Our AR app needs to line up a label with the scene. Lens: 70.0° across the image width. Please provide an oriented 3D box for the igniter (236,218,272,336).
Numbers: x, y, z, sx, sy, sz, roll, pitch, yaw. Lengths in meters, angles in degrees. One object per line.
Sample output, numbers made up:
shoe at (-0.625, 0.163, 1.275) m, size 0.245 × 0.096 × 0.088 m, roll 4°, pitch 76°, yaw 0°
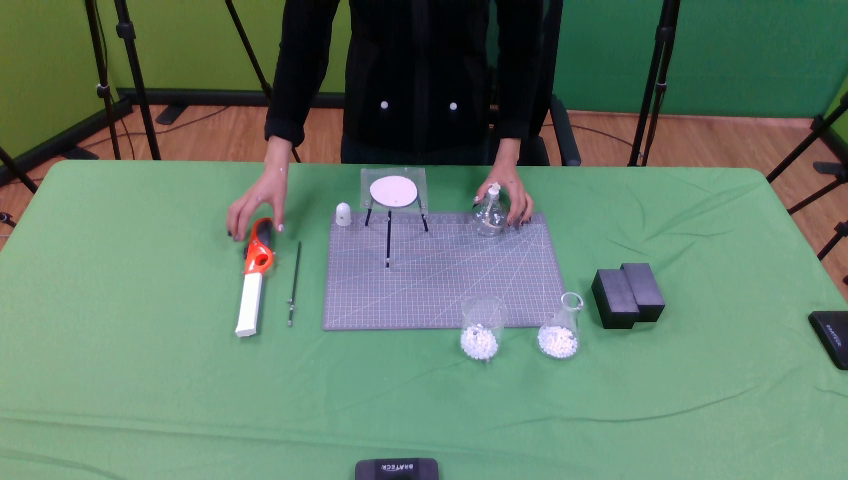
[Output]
igniter at (-0.312, 0.058, 1.115) m, size 0.057 × 0.025 × 0.274 m, roll -9°, pitch 46°, yaw 2°

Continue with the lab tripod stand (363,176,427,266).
lab tripod stand at (-0.057, -0.047, 1.159) m, size 0.148 × 0.132 × 0.147 m, roll 3°, pitch 44°, yaw -2°

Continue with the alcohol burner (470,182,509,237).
alcohol burner at (0.132, -0.065, 1.206) m, size 0.078 × 0.120 × 0.077 m, roll 2°, pitch 44°, yaw -1°

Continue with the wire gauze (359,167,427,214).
wire gauze at (-0.058, -0.093, 1.110) m, size 0.125 × 0.011 × 0.120 m, roll 2°, pitch 45°, yaw -5°

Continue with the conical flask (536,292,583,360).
conical flask at (0.234, 0.139, 1.015) m, size 0.075 × 0.122 × 0.075 m, roll 2°, pitch 46°, yaw -2°

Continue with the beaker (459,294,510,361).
beaker at (0.095, 0.147, 1.012) m, size 0.083 × 0.101 × 0.074 m, roll 26°, pitch 49°, yaw 21°

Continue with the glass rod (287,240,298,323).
glass rod at (-0.242, 0.072, 1.119) m, size 0.008 × 0.008 × 0.198 m, roll -1°, pitch 47°, yaw -5°

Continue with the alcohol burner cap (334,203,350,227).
alcohol burner cap at (-0.166, -0.053, 1.221) m, size 0.034 × 0.048 × 0.033 m, roll 2°, pitch 46°, yaw -2°
